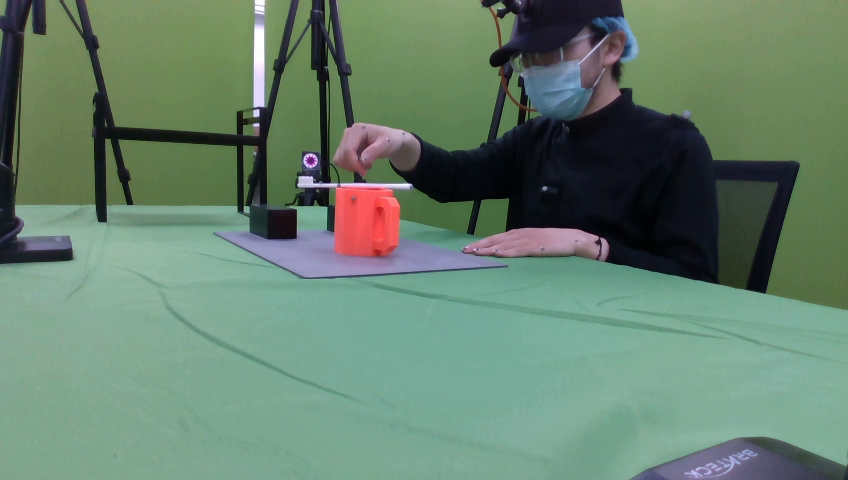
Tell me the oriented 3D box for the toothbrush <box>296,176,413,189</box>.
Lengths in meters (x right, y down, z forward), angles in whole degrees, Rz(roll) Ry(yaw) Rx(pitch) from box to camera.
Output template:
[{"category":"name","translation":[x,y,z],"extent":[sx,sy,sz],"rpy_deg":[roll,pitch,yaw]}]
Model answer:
[{"category":"toothbrush","translation":[-0.101,-0.085,0.911],"extent":[0.183,0.016,0.014],"rpy_deg":[-1,6,-25]}]

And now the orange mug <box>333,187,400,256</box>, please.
[{"category":"orange mug","translation":[-0.080,-0.029,0.888],"extent":[0.084,0.100,0.125],"rpy_deg":[-3,5,-40]}]
